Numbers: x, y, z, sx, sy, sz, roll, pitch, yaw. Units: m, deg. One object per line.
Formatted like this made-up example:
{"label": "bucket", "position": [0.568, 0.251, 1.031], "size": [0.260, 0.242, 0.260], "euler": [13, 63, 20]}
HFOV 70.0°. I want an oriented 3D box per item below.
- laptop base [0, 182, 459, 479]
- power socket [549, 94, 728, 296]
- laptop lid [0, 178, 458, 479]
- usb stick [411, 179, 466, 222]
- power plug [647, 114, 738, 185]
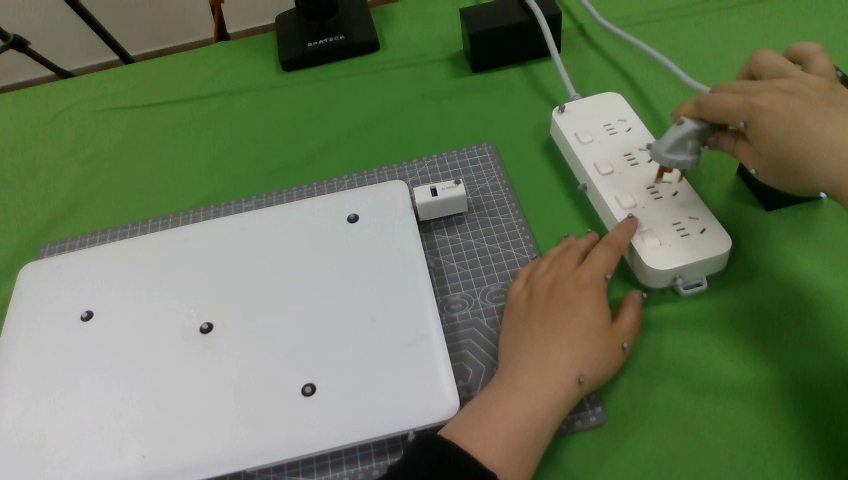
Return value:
{"label": "laptop base", "position": [-0.166, 0.076, 0.482], "size": [0.354, 0.023, 0.233], "euler": [-13, 54, -2]}
{"label": "power socket", "position": [0.176, -0.050, 0.523], "size": [0.072, 0.033, 0.224], "euler": [-14, 50, -4]}
{"label": "laptop lid", "position": [-0.168, 0.070, 0.472], "size": [0.357, 0.013, 0.239], "euler": [-12, 52, -1]}
{"label": "usb stick", "position": [0.006, -0.033, 0.529], "size": [0.059, 0.027, 0.021], "euler": [-14, 49, 2]}
{"label": "power plug", "position": [0.206, -0.066, 0.460], "size": [0.073, 0.053, 0.035], "euler": [-3, 39, -9]}
